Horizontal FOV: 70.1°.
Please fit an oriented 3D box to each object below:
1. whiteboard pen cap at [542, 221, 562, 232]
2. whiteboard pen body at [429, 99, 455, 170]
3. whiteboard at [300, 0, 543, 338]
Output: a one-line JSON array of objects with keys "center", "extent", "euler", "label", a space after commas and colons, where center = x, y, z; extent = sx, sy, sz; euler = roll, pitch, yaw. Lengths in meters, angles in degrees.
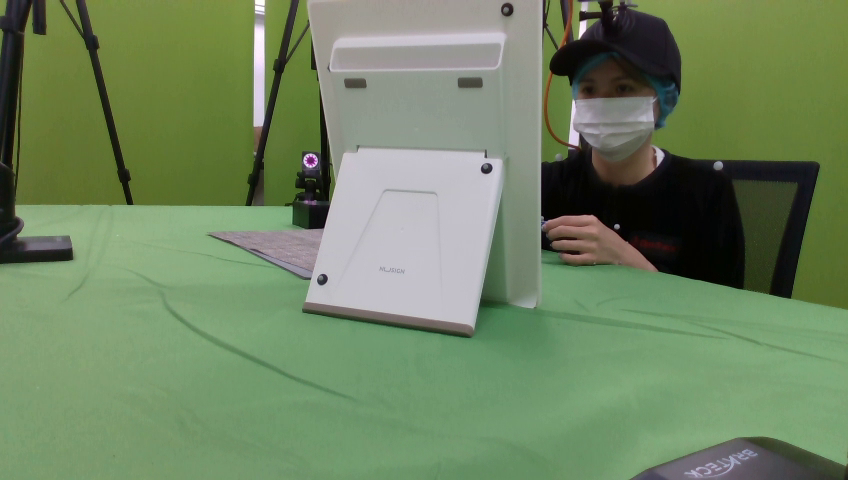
[{"center": [0.194, -0.021, 0.927], "extent": [0.033, 0.018, 0.018], "euler": [2, 6, 36], "label": "whiteboard pen cap"}, {"center": [0.018, -0.112, 0.636], "extent": [0.017, 0.017, 0.140], "euler": [4, 39, 7], "label": "whiteboard pen body"}, {"center": [-0.020, -0.050, 0.523], "extent": [0.216, 0.305, 0.144], "euler": [6, 28, 22], "label": "whiteboard"}]
